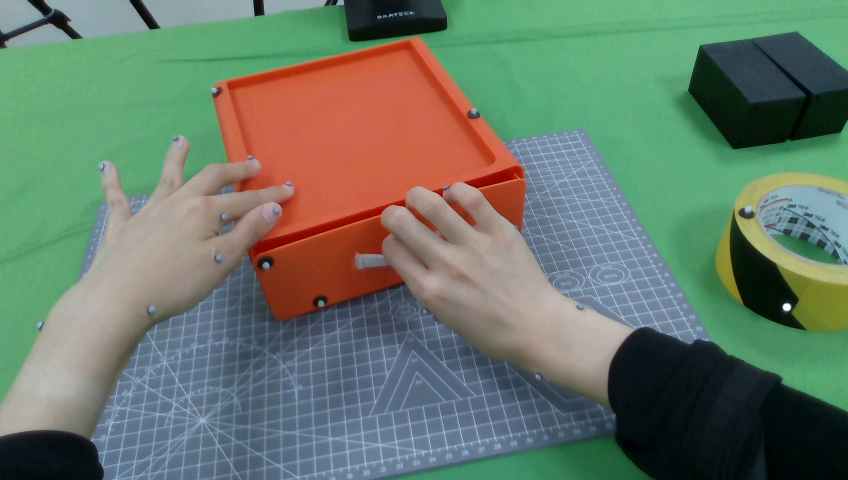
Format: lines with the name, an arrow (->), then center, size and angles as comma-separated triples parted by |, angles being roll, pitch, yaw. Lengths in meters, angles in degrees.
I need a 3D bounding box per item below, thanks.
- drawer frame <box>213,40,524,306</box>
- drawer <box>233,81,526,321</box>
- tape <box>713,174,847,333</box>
drawer frame -> -0.055, -0.065, 0.503 | 0.202, 0.083, 0.211 | -18, 47, -12
drawer -> -0.050, -0.055, 0.495 | 0.195, 0.074, 0.209 | -17, 47, -11
tape -> 0.272, 0.007, 0.434 | 0.117, 0.053, 0.115 | -2, 46, 2
